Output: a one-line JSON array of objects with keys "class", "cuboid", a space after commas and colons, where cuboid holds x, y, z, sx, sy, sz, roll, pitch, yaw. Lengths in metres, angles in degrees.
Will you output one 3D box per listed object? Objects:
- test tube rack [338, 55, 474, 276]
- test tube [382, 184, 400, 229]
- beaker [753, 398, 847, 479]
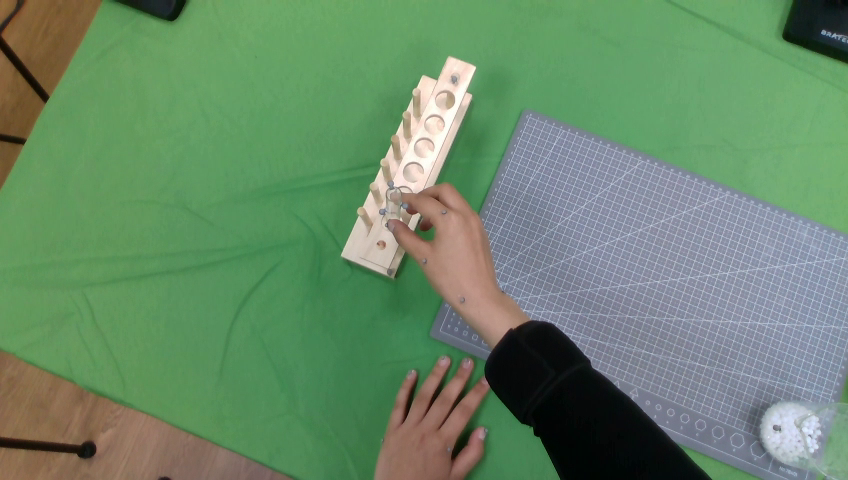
[{"class": "test tube rack", "cuboid": [-0.022, -0.087, 0.684, 0.066, 0.085, 0.241, 23, 81, 5]}, {"class": "test tube", "cuboid": [-0.035, -0.025, 0.623, 0.017, 0.151, 0.017, 1, 75, -4]}, {"class": "beaker", "cuboid": [0.393, 0.200, 0.623, 0.084, 0.100, 0.074, 24, 80, 6]}]
